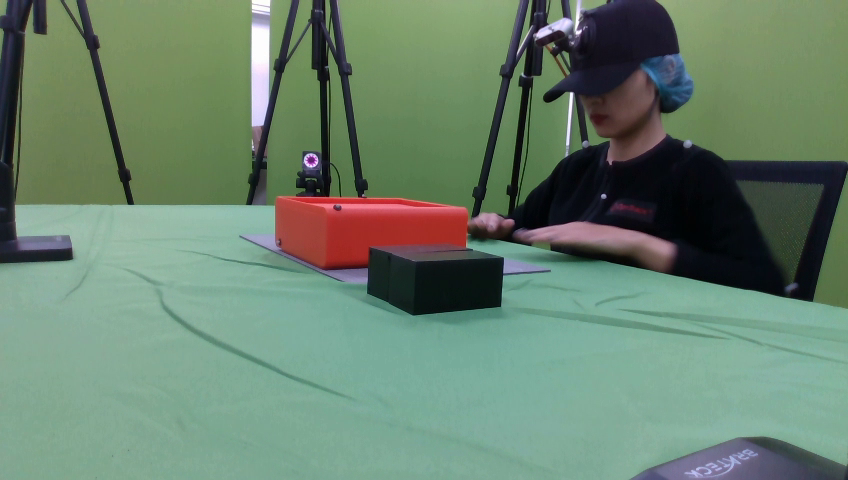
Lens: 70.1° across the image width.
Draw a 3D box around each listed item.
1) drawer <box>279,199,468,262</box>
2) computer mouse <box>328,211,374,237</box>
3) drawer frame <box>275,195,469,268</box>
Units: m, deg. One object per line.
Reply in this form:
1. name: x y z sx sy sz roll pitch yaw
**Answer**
1. drawer: -0.076 -0.018 0.860 0.213 0.073 0.193 -3 9 -31
2. computer mouse: -0.132 -0.030 1.113 0.063 0.041 0.117 5 12 7
3. drawer frame: -0.078 -0.019 0.859 0.215 0.082 0.200 -3 9 -32
